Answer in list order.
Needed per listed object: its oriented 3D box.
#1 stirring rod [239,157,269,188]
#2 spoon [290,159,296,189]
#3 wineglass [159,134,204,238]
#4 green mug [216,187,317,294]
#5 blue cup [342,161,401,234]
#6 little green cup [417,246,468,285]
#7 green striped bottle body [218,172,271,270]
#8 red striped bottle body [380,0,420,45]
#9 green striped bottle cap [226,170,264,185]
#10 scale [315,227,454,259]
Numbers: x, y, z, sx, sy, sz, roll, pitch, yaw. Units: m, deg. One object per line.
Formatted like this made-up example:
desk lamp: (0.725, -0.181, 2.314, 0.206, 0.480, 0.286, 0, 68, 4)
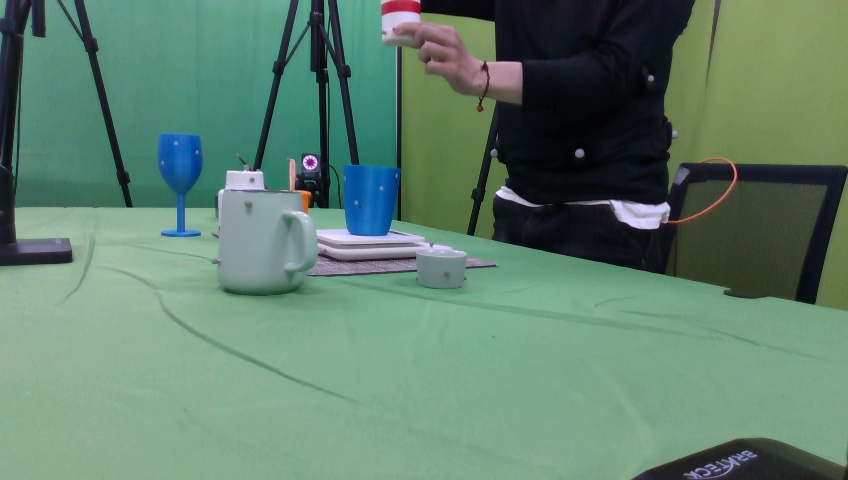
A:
stirring rod: (-0.309, -0.098, 1.209, 0.006, 0.177, 0.014, -39, 29, -4)
spoon: (-0.273, -0.102, 1.252, 0.042, 0.193, 0.021, 7, -38, -17)
wineglass: (-0.415, -0.093, 1.040, 0.074, 0.172, 0.073, 2, 7, 0)
green mug: (-0.157, 0.000, 0.629, 0.124, 0.105, 0.093, 7, 9, 37)
blue cup: (-0.079, -0.061, 0.882, 0.093, 0.100, 0.092, 4, 6, 0)
little green cup: (0.021, 0.029, 0.701, 0.061, 0.038, 0.061, 1, 6, 0)
green striped bottle body: (-0.223, -0.025, 0.755, 0.063, 0.119, 0.063, 2, 7, 0)
red striped bottle body: (-0.039, -0.373, 0.947, 0.063, 0.119, 0.063, -2, 6, 1)
green striped bottle cap: (-0.222, -0.077, 0.748, 0.044, 0.020, 0.044, 1, 7, 0)
scale: (-0.066, 0.001, 0.906, 0.202, 0.031, 0.148, -2, 8, -31)
